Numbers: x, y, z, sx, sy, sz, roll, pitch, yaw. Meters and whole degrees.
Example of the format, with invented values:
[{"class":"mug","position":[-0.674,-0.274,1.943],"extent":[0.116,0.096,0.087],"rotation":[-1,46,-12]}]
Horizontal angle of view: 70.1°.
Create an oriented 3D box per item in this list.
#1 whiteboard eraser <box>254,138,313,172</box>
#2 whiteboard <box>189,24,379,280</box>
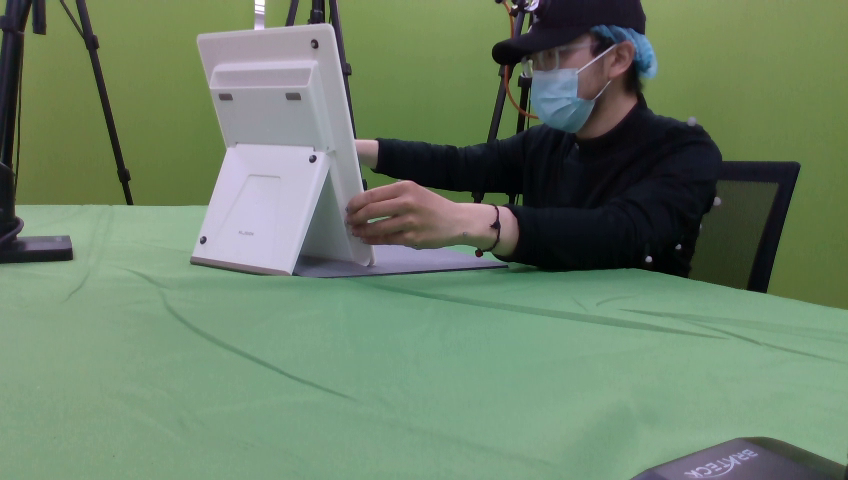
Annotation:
[{"class":"whiteboard eraser","position":[-0.285,-0.170,1.230],"extent":[0.113,0.042,0.055],"rotation":[14,21,-47]},{"class":"whiteboard","position":[-0.207,-0.085,0.729],"extent":[0.216,0.305,0.144],"rotation":[7,30,30]}]
